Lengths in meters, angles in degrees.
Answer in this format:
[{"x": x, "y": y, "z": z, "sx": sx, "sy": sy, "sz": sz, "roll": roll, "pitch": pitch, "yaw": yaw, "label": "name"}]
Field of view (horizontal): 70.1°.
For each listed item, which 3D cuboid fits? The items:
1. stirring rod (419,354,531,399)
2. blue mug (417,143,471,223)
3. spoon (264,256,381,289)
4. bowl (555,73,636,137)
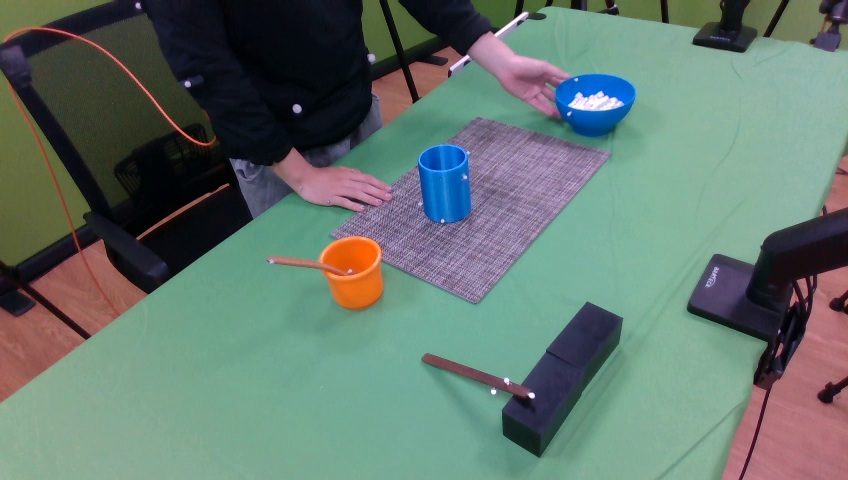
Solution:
[{"x": 0.058, "y": 0.164, "z": 0.738, "sx": 0.174, "sy": 0.006, "sz": 0.014, "roll": 8, "pitch": 42, "yaw": 45, "label": "stirring rod"}, {"x": 0.031, "y": -0.104, "z": 1.014, "sx": 0.082, "sy": 0.106, "sz": 0.115, "roll": -14, "pitch": 41, "yaw": -7, "label": "blue mug"}, {"x": -0.136, "y": 0.041, "z": 0.842, "sx": 0.021, "sy": 0.195, "sz": 0.041, "roll": -56, "pitch": 46, "yaw": 13, "label": "spoon"}, {"x": 0.328, "y": -0.253, "z": 1.172, "sx": 0.151, "sy": 0.077, "sz": 0.150, "roll": -4, "pitch": 41, "yaw": 4, "label": "bowl"}]
